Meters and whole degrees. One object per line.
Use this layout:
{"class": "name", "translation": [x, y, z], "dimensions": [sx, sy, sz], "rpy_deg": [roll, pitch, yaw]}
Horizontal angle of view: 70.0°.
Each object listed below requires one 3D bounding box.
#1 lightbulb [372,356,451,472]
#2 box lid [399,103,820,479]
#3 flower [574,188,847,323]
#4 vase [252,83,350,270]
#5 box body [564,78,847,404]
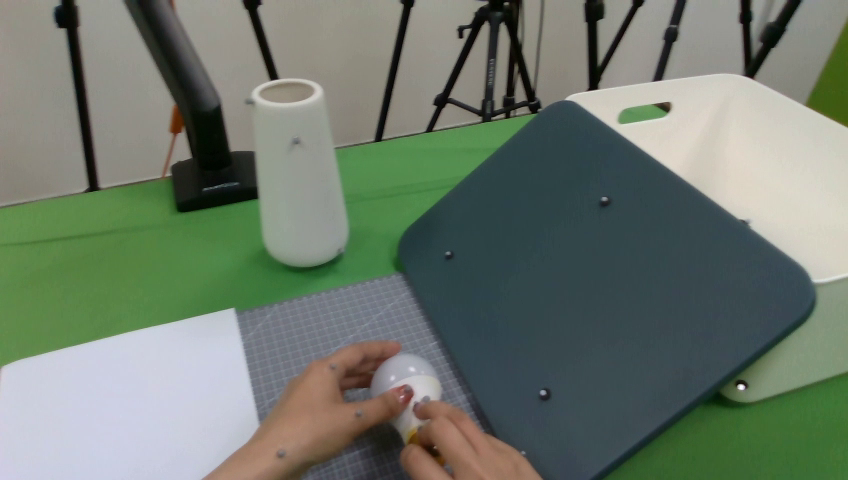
{"class": "lightbulb", "translation": [-0.006, 0.142, 0.494], "dimensions": [0.060, 0.060, 0.106], "rpy_deg": [-12, 38, -16]}
{"class": "box lid", "translation": [0.126, 0.025, 0.566], "dimensions": [0.263, 0.015, 0.367], "rpy_deg": [-42, 40, 8]}
{"class": "flower", "translation": [0.337, 0.025, 0.694], "dimensions": [0.358, 0.038, 0.044], "rpy_deg": [30, 38, 28]}
{"class": "vase", "translation": [-0.137, -0.065, 0.665], "dimensions": [0.098, 0.202, 0.097], "rpy_deg": [-1, 35, 1]}
{"class": "box body", "translation": [0.331, -0.024, 0.646], "dimensions": [0.255, 0.162, 0.360], "rpy_deg": [-12, 38, -16]}
